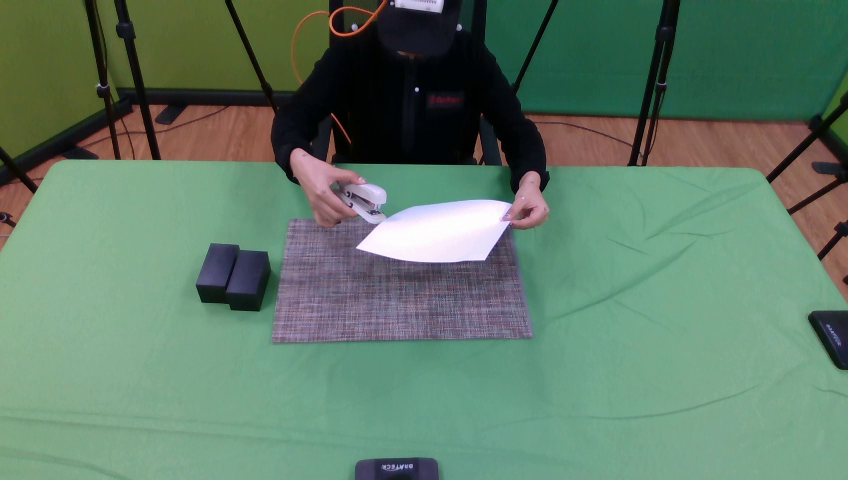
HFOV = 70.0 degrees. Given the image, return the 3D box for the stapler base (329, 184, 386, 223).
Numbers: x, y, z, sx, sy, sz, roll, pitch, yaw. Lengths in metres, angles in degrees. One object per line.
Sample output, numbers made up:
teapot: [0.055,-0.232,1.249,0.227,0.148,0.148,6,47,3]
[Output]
stapler base: [-0.117,-0.072,1.092,0.041,0.024,0.130,-7,34,-46]

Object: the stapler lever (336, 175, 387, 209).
stapler lever: [-0.111,-0.094,1.082,0.027,0.040,0.117,-7,35,-46]
